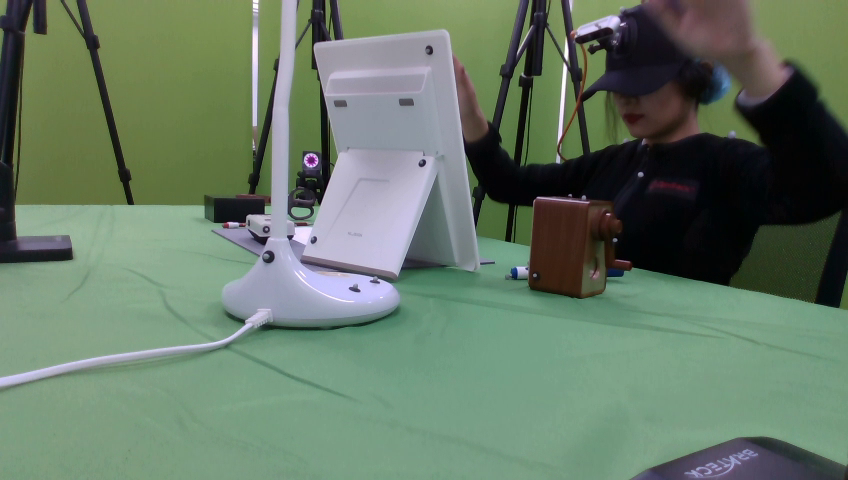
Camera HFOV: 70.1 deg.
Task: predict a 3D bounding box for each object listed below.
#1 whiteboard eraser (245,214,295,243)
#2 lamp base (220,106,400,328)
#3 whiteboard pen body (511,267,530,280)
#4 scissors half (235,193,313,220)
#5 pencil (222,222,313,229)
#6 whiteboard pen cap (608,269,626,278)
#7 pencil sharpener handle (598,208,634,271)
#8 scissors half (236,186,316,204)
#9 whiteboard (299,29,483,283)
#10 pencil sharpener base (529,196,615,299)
[{"bbox_3d":[-0.247,-0.018,0.965,0.056,0.042,0.112,0,8,-28],"label":"whiteboard eraser"},{"bbox_3d":[-0.101,-0.023,0.531,0.160,0.180,0.179,4,10,10],"label":"lamp base"},{"bbox_3d":[0.178,0.041,0.758,0.141,0.017,0.017,-1,8,-9],"label":"whiteboard pen body"},{"bbox_3d":[-0.325,-0.077,1.319,0.176,0.040,0.012,17,7,-32],"label":"scissors half"},{"bbox_3d":[-0.302,-0.030,1.189,0.195,0.012,0.012,-2,9,-42],"label":"pencil"},{"bbox_3d":[0.237,0.039,0.766,0.033,0.018,0.018,-2,8,-8],"label":"whiteboard pen cap"},{"bbox_3d":[0.208,0.000,0.645,0.030,0.068,0.036,10,23,42],"label":"pencil sharpener handle"},{"bbox_3d":[-0.320,-0.097,1.316,0.176,0.040,0.013,-3,12,-29],"label":"scissors half"},{"bbox_3d":[-0.074,-0.082,0.742,0.216,0.305,0.144,9,29,37],"label":"whiteboard"},{"bbox_3d":[0.168,0.007,0.678,0.076,0.107,0.062,10,10,42],"label":"pencil sharpener base"}]
